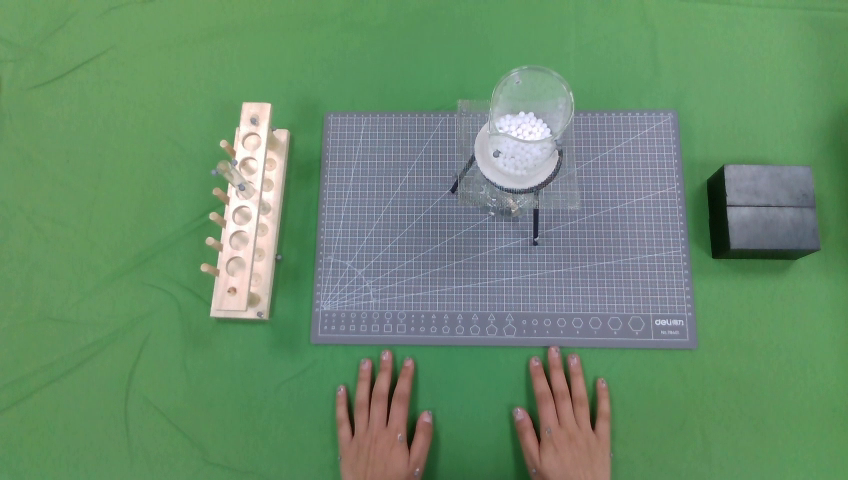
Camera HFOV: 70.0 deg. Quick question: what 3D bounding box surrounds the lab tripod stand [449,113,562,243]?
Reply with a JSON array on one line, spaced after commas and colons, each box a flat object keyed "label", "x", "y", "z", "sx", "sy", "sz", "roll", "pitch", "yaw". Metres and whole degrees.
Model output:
[{"label": "lab tripod stand", "x": 0.101, "y": -0.079, "z": 0.687, "sx": 0.148, "sy": 0.132, "sz": 0.147, "roll": -1, "pitch": 74, "yaw": 3}]

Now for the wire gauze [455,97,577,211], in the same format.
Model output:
[{"label": "wire gauze", "x": 0.094, "y": -0.091, "z": 0.622, "sx": 0.125, "sy": 0.011, "sz": 0.121, "roll": 2, "pitch": 77, "yaw": 0}]

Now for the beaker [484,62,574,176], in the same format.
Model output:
[{"label": "beaker", "x": 0.093, "y": -0.107, "z": 0.576, "sx": 0.084, "sy": 0.101, "sz": 0.073, "roll": -33, "pitch": 77, "yaw": -6}]

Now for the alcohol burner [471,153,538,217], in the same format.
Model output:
[{"label": "alcohol burner", "x": 0.094, "y": -0.069, "z": 0.695, "sx": 0.078, "sy": 0.119, "sz": 0.077, "roll": 0, "pitch": 76, "yaw": 0}]

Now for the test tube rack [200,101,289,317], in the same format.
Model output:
[{"label": "test tube rack", "x": -0.216, "y": -0.035, "z": 0.715, "sx": 0.067, "sy": 0.085, "sz": 0.241, "roll": 3, "pitch": 77, "yaw": 3}]

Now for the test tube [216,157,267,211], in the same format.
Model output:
[{"label": "test tube", "x": -0.198, "y": -0.058, "z": 0.669, "sx": 0.017, "sy": 0.151, "sz": 0.017, "roll": 0, "pitch": 77, "yaw": 0}]
